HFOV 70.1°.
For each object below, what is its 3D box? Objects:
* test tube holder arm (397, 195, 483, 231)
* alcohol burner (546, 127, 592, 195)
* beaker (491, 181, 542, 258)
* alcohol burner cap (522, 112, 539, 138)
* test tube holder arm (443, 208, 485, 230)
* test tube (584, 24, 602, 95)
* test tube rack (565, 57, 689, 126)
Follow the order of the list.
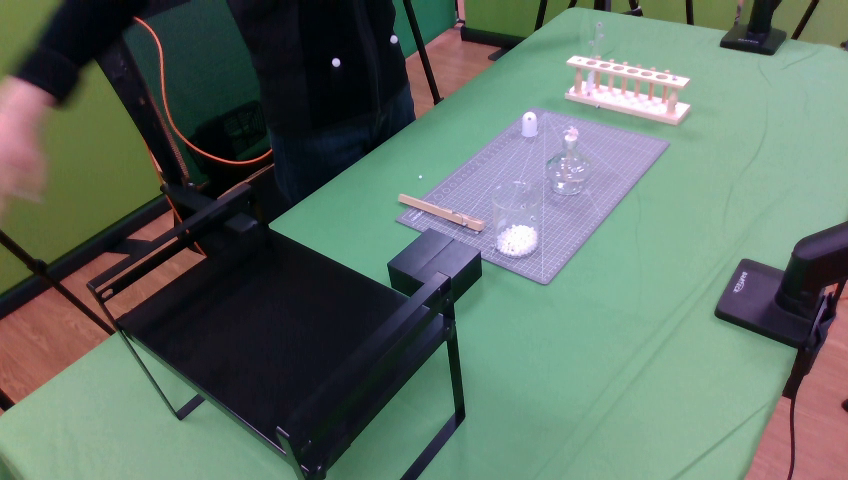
[{"bbox_3d":[0.024,-0.048,1.026,0.177,0.015,0.013,21,18,31],"label":"test tube holder arm"},{"bbox_3d":[0.246,-0.137,1.024,0.078,0.119,0.077,-4,38,4],"label":"alcohol burner"},{"bbox_3d":[0.144,-0.030,0.925,0.073,0.100,0.084,23,48,31],"label":"beaker"},{"bbox_3d":[0.210,-0.230,1.195,0.034,0.048,0.033,-5,41,5],"label":"alcohol burner cap"},{"bbox_3d":[0.063,-0.035,1.007,0.087,0.015,0.010,21,18,33],"label":"test tube holder arm"},{"bbox_3d":[0.342,-0.362,1.226,0.017,0.151,0.017,-2,44,2],"label":"test tube"},{"bbox_3d":[0.412,-0.311,1.230,0.240,0.085,0.067,23,49,32],"label":"test tube rack"}]
